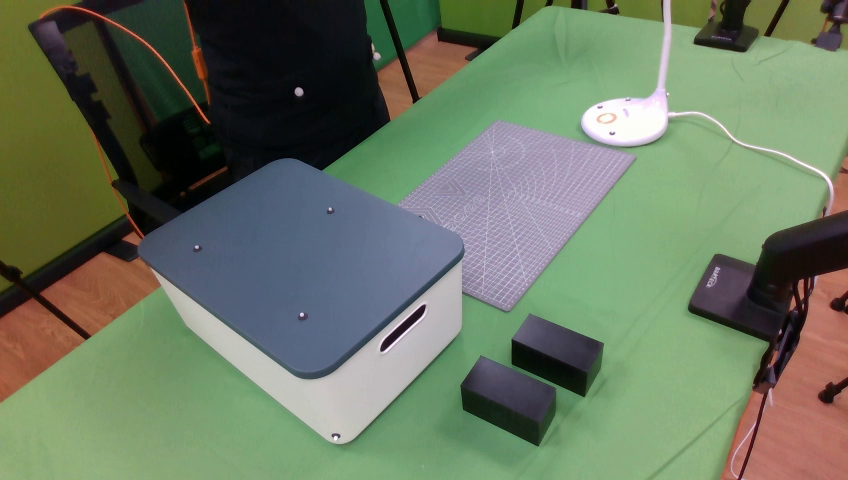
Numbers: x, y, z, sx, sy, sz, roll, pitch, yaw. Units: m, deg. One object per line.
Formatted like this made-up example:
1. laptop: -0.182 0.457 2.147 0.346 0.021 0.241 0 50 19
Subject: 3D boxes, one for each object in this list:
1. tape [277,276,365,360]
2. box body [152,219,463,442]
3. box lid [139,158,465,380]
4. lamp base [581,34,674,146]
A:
1. tape: -0.140 0.106 0.832 0.117 0.053 0.116 -4 41 4
2. box body: -0.152 0.064 0.807 0.361 0.161 0.255 26 51 33
3. box lid: -0.158 0.010 0.757 0.368 0.015 0.264 26 50 33
4. lamp base: 0.392 -0.291 1.129 0.180 0.181 0.159 -11 41 -8
